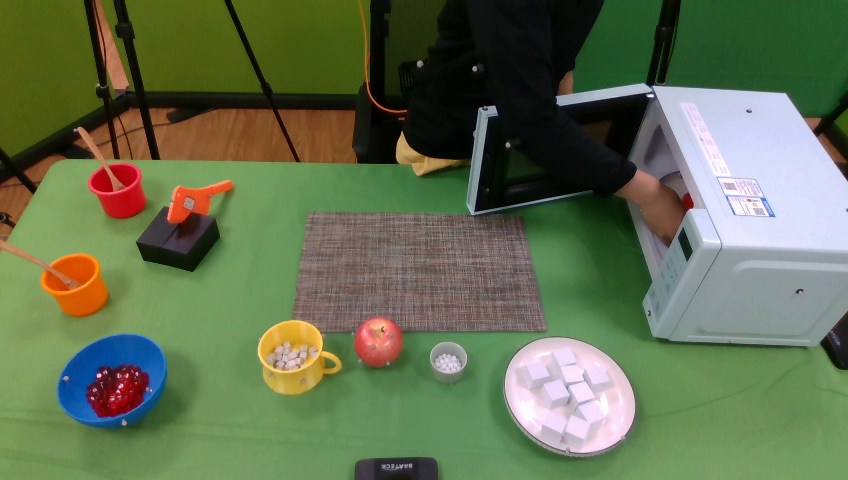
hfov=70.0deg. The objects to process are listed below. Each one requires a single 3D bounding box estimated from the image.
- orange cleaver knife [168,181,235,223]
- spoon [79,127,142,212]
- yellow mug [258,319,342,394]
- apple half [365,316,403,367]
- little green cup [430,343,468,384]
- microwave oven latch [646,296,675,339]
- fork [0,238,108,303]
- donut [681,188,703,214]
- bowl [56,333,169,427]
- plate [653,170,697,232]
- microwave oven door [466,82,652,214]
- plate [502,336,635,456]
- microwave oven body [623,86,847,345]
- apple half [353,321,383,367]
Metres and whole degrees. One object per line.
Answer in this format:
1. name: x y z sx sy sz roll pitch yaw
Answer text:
1. orange cleaver knife: -0.436 -0.078 1.196 0.012 0.077 0.211 16 15 10
2. spoon: -0.624 -0.140 1.203 0.041 0.021 0.194 -33 101 -26
3. yellow mug: -0.195 0.188 0.972 0.131 0.064 0.099 9 47 4
4. apple half: -0.063 0.165 1.000 0.053 0.075 0.080 -16 45 -24
5. little green cup: 0.039 0.203 0.993 0.061 0.039 0.061 2 46 -2
6. microwave oven latch: 0.412 0.134 1.061 0.030 0.029 0.078 4 45 1
7. fork: -0.633 0.048 1.017 0.208 0.018 0.028 40 43 -27
8. donut: 0.553 -0.066 1.185 0.099 0.048 0.098 2 44 -2
9. bowl: -0.456 0.223 0.911 0.151 0.077 0.150 3 46 -2
10. plate: 0.556 -0.060 1.197 0.209 0.038 0.208 2 45 -2
11. microwave oven door: 0.265 -0.183 1.216 0.356 0.245 0.039 -12 48 -15
12. plate: 0.225 0.248 0.963 0.208 0.039 0.206 2 46 -2
13. microwave oven body: 0.567 -0.053 1.118 0.326 0.261 0.439 2 45 -1
14. apple half: -0.097 0.177 0.984 0.033 0.081 0.081 -17 49 -24
